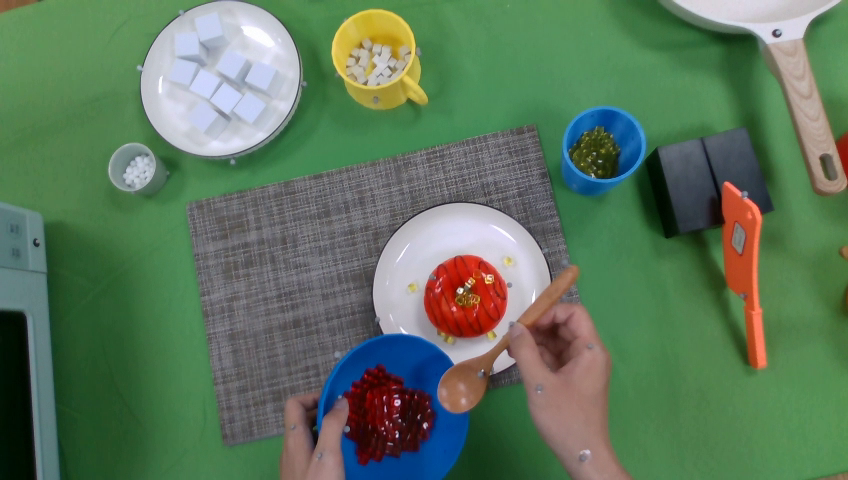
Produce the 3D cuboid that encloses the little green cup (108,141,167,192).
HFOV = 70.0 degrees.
[{"bbox_3d":[-0.356,-0.089,0.760,0.061,0.039,0.061,-1,83,4],"label":"little green cup"}]

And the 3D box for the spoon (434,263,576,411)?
[{"bbox_3d":[0.068,0.088,0.525,0.041,0.021,0.194,45,125,12],"label":"spoon"}]

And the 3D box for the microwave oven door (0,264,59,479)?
[{"bbox_3d":[-0.469,0.195,0.612,0.039,0.244,0.354,-10,81,4],"label":"microwave oven door"}]

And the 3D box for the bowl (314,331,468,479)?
[{"bbox_3d":[-0.042,0.166,0.595,0.152,0.076,0.150,5,78,-24],"label":"bowl"}]

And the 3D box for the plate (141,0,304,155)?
[{"bbox_3d":[-0.251,-0.205,0.769,0.207,0.039,0.207,-1,82,5],"label":"plate"}]

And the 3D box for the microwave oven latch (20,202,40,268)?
[{"bbox_3d":[-0.492,-0.006,0.743,0.030,0.029,0.079,-6,82,3],"label":"microwave oven latch"}]

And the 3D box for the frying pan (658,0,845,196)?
[{"bbox_3d":[0.390,-0.279,0.691,0.307,0.103,0.484,-7,74,5],"label":"frying pan"}]

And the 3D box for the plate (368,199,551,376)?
[{"bbox_3d":[0.041,0.057,0.705,0.209,0.038,0.208,-1,83,5],"label":"plate"}]

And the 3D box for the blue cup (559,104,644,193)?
[{"bbox_3d":[0.191,-0.094,0.685,0.092,0.100,0.092,-1,80,4],"label":"blue cup"}]

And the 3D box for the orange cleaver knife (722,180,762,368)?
[{"bbox_3d":[0.347,0.039,0.664,0.012,0.076,0.212,-13,110,3],"label":"orange cleaver knife"}]

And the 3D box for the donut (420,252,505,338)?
[{"bbox_3d":[0.044,0.063,0.693,0.099,0.048,0.099,0,86,5],"label":"donut"}]

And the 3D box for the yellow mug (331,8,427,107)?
[{"bbox_3d":[-0.046,-0.211,0.738,0.130,0.064,0.100,41,87,8],"label":"yellow mug"}]

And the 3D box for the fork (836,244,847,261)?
[{"bbox_3d":[0.467,0.040,0.619,0.209,0.018,0.028,23,83,-36],"label":"fork"}]

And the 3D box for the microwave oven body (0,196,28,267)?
[{"bbox_3d":[-0.619,0.177,0.631,0.326,0.261,0.440,-9,82,3],"label":"microwave oven body"}]
